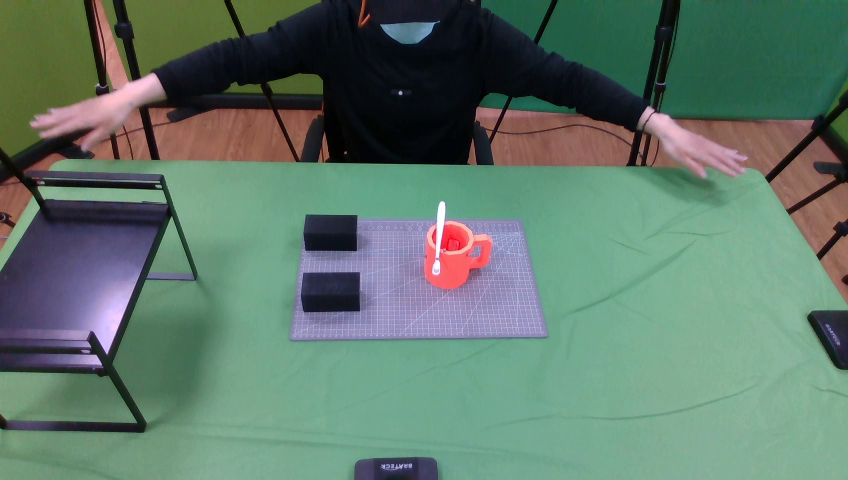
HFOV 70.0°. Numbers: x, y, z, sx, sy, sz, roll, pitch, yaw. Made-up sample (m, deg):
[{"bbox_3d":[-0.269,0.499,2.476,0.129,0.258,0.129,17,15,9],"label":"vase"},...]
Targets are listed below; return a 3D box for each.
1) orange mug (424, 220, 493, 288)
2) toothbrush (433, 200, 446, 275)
[{"bbox_3d":[0.063,0.023,1.119,0.126,0.101,0.083,-9,47,-7],"label":"orange mug"},{"bbox_3d":[0.028,-0.010,1.076,0.014,0.017,0.181,1,46,7],"label":"toothbrush"}]
